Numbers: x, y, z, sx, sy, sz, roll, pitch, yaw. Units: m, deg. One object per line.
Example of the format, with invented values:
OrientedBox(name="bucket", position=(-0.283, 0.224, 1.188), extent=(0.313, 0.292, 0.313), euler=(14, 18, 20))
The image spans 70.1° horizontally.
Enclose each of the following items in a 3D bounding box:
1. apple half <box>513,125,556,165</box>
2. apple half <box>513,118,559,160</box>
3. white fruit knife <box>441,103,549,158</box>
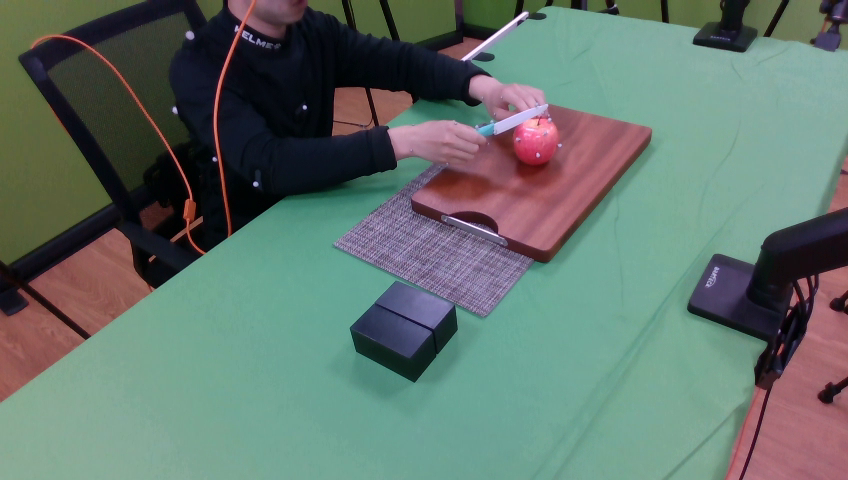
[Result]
OrientedBox(name="apple half", position=(0.185, -0.157, 1.040), extent=(0.081, 0.081, 0.033), euler=(14, 41, 23))
OrientedBox(name="apple half", position=(0.202, -0.180, 1.067), extent=(0.080, 0.075, 0.053), euler=(11, 39, 26))
OrientedBox(name="white fruit knife", position=(0.116, -0.189, 1.027), extent=(0.206, 0.027, 0.016), euler=(-21, 44, 24))
